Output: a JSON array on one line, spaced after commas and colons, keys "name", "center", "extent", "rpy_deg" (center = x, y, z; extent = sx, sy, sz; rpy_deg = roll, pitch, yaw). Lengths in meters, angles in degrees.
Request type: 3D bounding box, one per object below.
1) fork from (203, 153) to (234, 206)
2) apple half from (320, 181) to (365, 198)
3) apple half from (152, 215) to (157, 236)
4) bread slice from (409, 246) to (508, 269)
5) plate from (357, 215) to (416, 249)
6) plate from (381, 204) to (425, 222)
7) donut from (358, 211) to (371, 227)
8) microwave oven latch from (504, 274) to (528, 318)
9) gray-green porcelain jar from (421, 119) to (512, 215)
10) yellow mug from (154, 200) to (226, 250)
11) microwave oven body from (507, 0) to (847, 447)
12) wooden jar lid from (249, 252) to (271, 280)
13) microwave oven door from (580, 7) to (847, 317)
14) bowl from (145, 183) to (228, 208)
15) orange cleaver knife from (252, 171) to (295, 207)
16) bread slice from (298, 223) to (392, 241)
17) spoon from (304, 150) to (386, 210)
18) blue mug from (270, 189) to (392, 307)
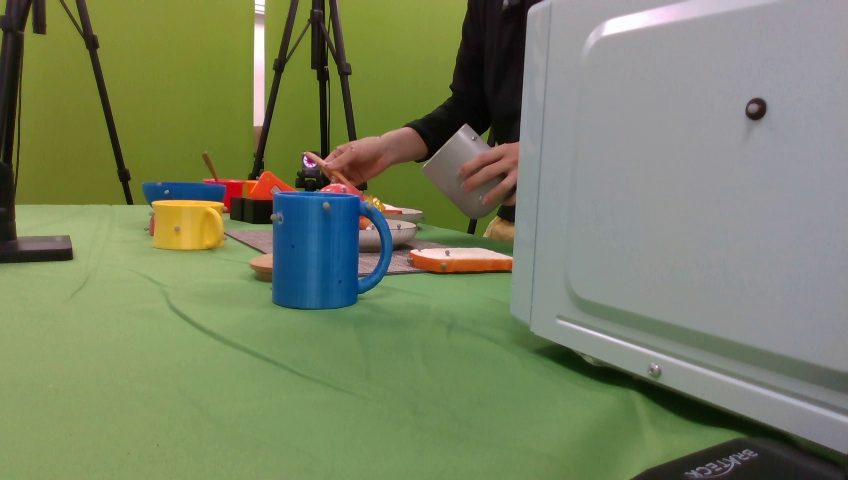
[{"name": "fork", "center": [-0.480, -0.136, 1.411], "extent": [0.028, 0.018, 0.207], "rpy_deg": [0, -34, -1]}, {"name": "apple half", "center": [-0.130, -0.077, 0.952], "extent": [0.081, 0.033, 0.081], "rpy_deg": [3, 14, -1]}, {"name": "apple half", "center": [-0.416, -0.034, 1.017], "extent": [0.081, 0.053, 0.074], "rpy_deg": [1, 10, -8]}, {"name": "bread slice", "center": [0.048, 0.022, 0.816], "extent": [0.132, 0.019, 0.104], "rpy_deg": [0, 7, -24]}, {"name": "plate", "center": [-0.116, -0.014, 0.967], "extent": [0.208, 0.039, 0.207], "rpy_deg": [2, 7, 0]}, {"name": "plate", "center": [-0.102, -0.053, 1.299], "extent": [0.209, 0.038, 0.209], "rpy_deg": [2, 8, 0]}, {"name": "donut", "center": [-0.132, -0.042, 0.959], "extent": [0.099, 0.048, 0.099], "rpy_deg": [3, 8, 0]}, {"name": "microwave oven latch", "center": [0.100, 0.041, 0.470], "extent": [0.079, 0.029, 0.030], "rpy_deg": [-1, 7, -27]}, {"name": "gray-green porcelain jar", "center": [0.076, -0.110, 0.960], "extent": [0.126, 0.106, 0.106], "rpy_deg": [43, 5, -6]}, {"name": "yellow mug", "center": [-0.337, -0.023, 0.899], "extent": [0.130, 0.064, 0.100], "rpy_deg": [8, 9, 34]}, {"name": "microwave oven body", "center": [0.331, -0.042, 0.425], "extent": [0.444, 0.260, 0.324], "rpy_deg": [-2, 8, -31]}, {"name": "wooden jar lid", "center": [-0.148, 0.028, 0.708], "extent": [0.108, 0.020, 0.108], "rpy_deg": [0, 10, 0]}, {"name": "microwave oven door", "center": [0.295, -0.067, 0.570], "extent": [0.358, 0.243, 0.039], "rpy_deg": [-3, 9, -31]}, {"name": "bowl", "center": [-0.459, -0.069, 1.175], "extent": [0.151, 0.077, 0.151], "rpy_deg": [3, 7, 0]}, {"name": "orange cleaver knife", "center": [-0.283, -0.087, 1.343], "extent": [0.212, 0.077, 0.012], "rpy_deg": [24, -16, -41]}, {"name": "bread slice", "center": [-0.121, -0.014, 0.971], "extent": [0.106, 0.018, 0.135], "rpy_deg": [9, 9, 42]}, {"name": "spoon", "center": [-0.138, -0.104, 1.037], "extent": [0.193, 0.021, 0.042], "rpy_deg": [41, 44, 20]}, {"name": "blue mug", "center": [-0.090, 0.005, 0.588], "extent": [0.117, 0.106, 0.082], "rpy_deg": [1, 7, -10]}]
